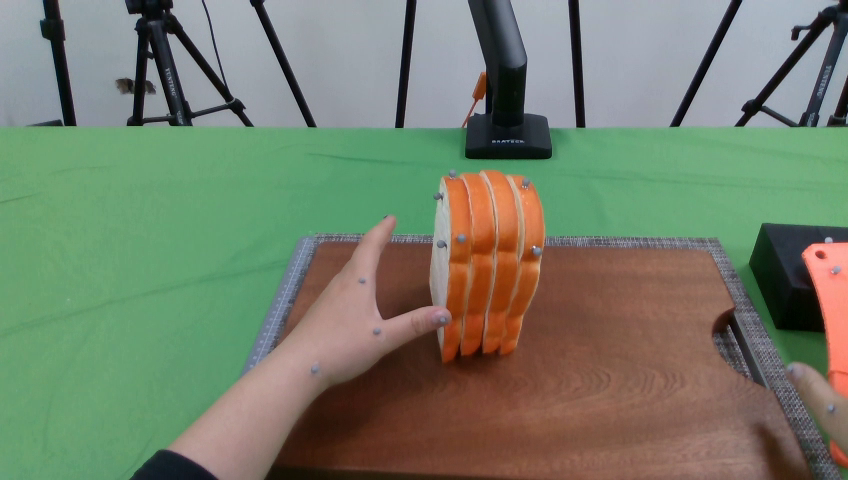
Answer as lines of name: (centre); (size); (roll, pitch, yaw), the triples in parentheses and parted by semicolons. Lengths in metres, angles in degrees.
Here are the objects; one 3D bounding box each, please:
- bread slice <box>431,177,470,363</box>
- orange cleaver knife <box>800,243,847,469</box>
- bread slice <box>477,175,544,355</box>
bread slice: (0.021, 0.016, 0.505); (0.018, 0.135, 0.106); (-1, 32, -6)
orange cleaver knife: (0.351, 0.083, 0.488); (0.077, 0.012, 0.210); (11, 56, 11)
bread slice: (0.071, 0.015, 0.505); (0.019, 0.132, 0.104); (2, 37, -9)
